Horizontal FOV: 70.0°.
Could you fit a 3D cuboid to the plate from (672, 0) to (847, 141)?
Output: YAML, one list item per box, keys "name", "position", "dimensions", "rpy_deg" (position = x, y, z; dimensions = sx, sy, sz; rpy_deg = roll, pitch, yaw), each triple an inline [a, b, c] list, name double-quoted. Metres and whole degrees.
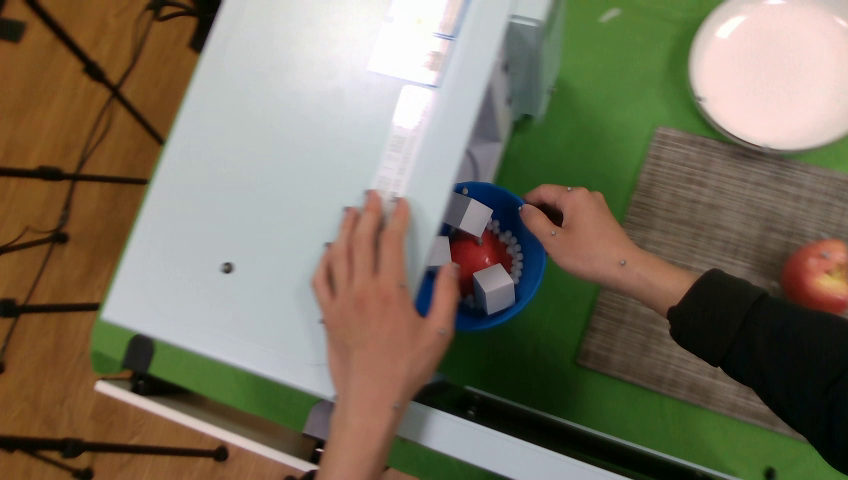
- name: "plate"
  position: [0.395, -0.211, 0.703]
  dimensions: [0.207, 0.039, 0.207]
  rpy_deg: [-2, 81, 10]

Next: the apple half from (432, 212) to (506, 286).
- name: "apple half"
  position: [0.047, 0.011, 0.622]
  dimensions: [0.081, 0.033, 0.081]
  rpy_deg: [0, 91, 4]

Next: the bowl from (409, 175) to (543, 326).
- name: "bowl"
  position: [0.052, 0.015, 0.628]
  dimensions: [0.151, 0.077, 0.151]
  rpy_deg: [-3, 80, 16]

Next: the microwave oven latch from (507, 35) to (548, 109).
- name: "microwave oven latch"
  position: [0.125, -0.202, 0.732]
  dimensions: [0.030, 0.029, 0.079]
  rpy_deg: [23, 87, 12]

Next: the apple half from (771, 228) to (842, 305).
- name: "apple half"
  position: [0.399, 0.029, 0.643]
  dimensions: [0.053, 0.075, 0.080]
  rpy_deg: [-3, 84, 14]

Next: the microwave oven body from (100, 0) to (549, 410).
- name: "microwave oven body"
  position: [-0.082, -0.086, 0.652]
  dimensions: [0.325, 0.261, 0.441]
  rpy_deg: [16, 85, 12]

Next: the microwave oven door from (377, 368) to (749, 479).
- name: "microwave oven door"
  position: [0.151, 0.197, 0.562]
  dimensions: [0.354, 0.245, 0.039]
  rpy_deg: [16, 84, 12]
